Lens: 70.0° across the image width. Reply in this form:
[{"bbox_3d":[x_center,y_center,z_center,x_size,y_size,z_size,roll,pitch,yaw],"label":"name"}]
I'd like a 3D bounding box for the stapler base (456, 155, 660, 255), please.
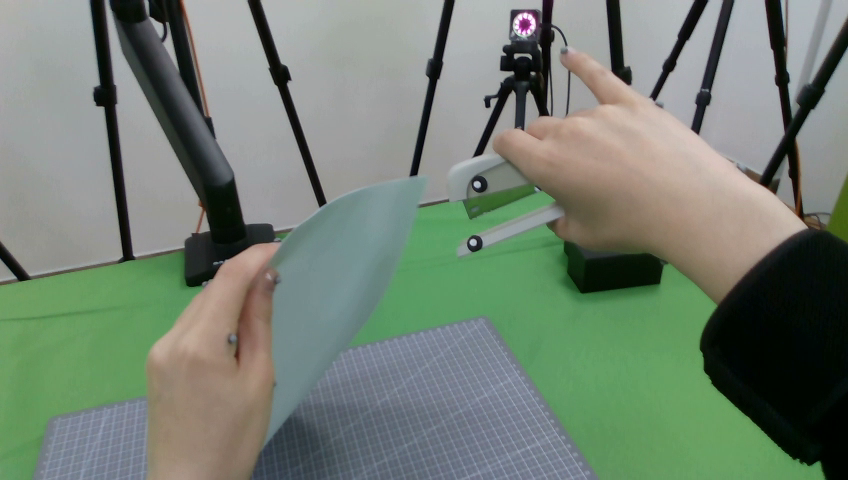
[{"bbox_3d":[0.076,-0.024,0.370,0.130,0.024,0.041,-21,3,25],"label":"stapler base"}]

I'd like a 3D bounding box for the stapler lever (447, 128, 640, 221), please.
[{"bbox_3d":[0.068,-0.047,0.369,0.118,0.040,0.027,-22,3,26],"label":"stapler lever"}]
